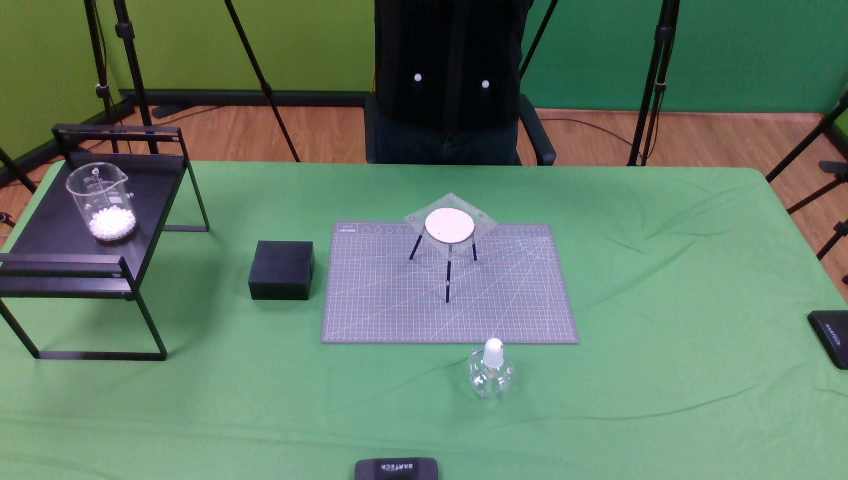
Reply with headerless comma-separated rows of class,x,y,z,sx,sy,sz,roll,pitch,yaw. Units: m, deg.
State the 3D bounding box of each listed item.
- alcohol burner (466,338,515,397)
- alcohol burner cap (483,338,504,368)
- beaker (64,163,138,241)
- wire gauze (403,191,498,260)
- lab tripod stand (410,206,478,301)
alcohol burner,0.106,0.195,0.952,0.078,0.120,0.077,0,46,0
alcohol burner cap,0.108,0.170,0.928,0.034,0.048,0.033,0,41,1
beaker,-0.478,-0.055,0.910,0.084,0.101,0.073,-9,48,-13
wire gauze,0.046,-0.032,1.053,0.121,0.011,0.124,-32,55,-29
lab tripod stand,0.039,0.015,1.101,0.148,0.132,0.147,1,47,0
